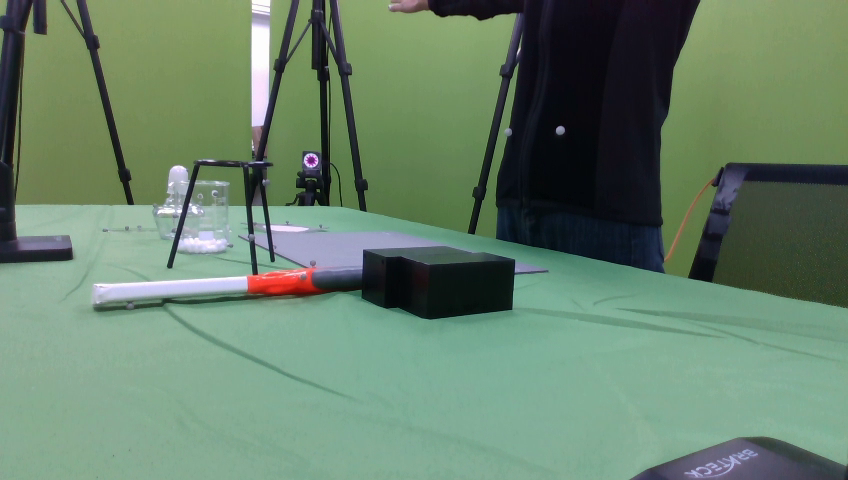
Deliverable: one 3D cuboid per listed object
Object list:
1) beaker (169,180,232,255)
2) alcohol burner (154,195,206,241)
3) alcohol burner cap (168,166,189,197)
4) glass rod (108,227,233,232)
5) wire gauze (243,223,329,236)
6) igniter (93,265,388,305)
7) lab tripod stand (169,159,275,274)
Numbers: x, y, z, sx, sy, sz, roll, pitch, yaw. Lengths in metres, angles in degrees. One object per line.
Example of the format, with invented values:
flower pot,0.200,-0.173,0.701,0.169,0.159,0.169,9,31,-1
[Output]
beaker,-0.313,-0.032,0.850,0.084,0.100,0.073,-5,10,-41
alcohol burner,-0.393,-0.059,0.974,0.078,0.119,0.078,1,8,0
alcohol burner cap,-0.392,-0.095,0.970,0.034,0.048,0.034,7,7,-1
glass rod,-0.437,-0.019,1.054,0.201,0.008,0.008,-1,8,-27
wire gauze,-0.266,-0.024,1.156,0.124,0.011,0.122,12,12,40
igniter,-0.164,0.042,0.589,0.278,0.025,0.057,-2,-6,-31
lab tripod stand,-0.230,-0.030,0.724,0.148,0.131,0.148,1,9,0
